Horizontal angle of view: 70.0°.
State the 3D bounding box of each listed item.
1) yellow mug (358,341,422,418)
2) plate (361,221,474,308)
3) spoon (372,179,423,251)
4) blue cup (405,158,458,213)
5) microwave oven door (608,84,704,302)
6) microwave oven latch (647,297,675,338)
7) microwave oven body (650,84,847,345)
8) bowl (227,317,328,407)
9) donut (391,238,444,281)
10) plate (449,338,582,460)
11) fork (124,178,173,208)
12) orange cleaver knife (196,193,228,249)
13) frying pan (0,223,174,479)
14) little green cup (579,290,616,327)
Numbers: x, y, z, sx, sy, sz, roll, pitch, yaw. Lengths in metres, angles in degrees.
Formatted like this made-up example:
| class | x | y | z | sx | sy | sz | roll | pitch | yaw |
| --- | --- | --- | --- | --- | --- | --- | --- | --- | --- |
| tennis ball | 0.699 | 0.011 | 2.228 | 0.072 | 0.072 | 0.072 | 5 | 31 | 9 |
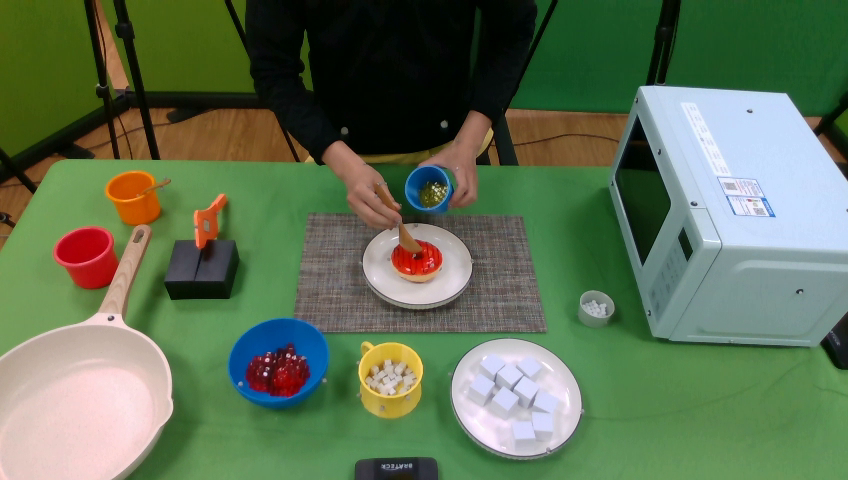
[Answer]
| class | x | y | z | sx | sy | sz | roll | pitch | yaw |
| --- | --- | --- | --- | --- | --- | --- | --- | --- | --- |
| yellow mug | -0.063 | 0.210 | 0.961 | 0.100 | 0.064 | 0.130 | -29 | 54 | -28 |
| plate | -0.011 | 0.049 | 1.130 | 0.209 | 0.038 | 0.208 | 2 | 46 | -2 |
| spoon | -0.048 | -0.038 | 1.023 | 0.041 | 0.195 | 0.021 | 7 | 54 | 30 |
| blue cup | 0.021 | -0.092 | 1.139 | 0.092 | 0.100 | 0.092 | -4 | 77 | 19 |
| microwave oven door | 0.424 | -0.096 | 1.138 | 0.039 | 0.245 | 0.353 | 2 | 47 | -1 |
| microwave oven latch | 0.413 | 0.133 | 1.060 | 0.030 | 0.029 | 0.078 | 5 | 46 | 2 |
| microwave oven body | 0.569 | -0.054 | 1.115 | 0.326 | 0.261 | 0.439 | 2 | 46 | -1 |
| bowl | -0.223 | 0.203 | 0.947 | 0.151 | 0.077 | 0.150 | 2 | 46 | -2 |
| donut | -0.012 | 0.035 | 1.128 | 0.099 | 0.048 | 0.098 | 3 | 43 | -2 |
| plate | 0.141 | 0.251 | 0.955 | 0.208 | 0.039 | 0.206 | 2 | 46 | -2 |
| fork | -0.525 | -0.089 | 1.153 | 0.207 | 0.019 | 0.028 | -18 | 27 | 45 |
| orange cleaver knife | -0.406 | -0.041 | 1.163 | 0.012 | 0.077 | 0.210 | 0 | 18 | -3 |
| frying pan | -0.505 | 0.169 | 0.941 | 0.307 | 0.103 | 0.485 | 5 | 54 | -1 |
| little green cup | 0.308 | 0.124 | 1.086 | 0.061 | 0.039 | 0.061 | 1 | 45 | -1 |
